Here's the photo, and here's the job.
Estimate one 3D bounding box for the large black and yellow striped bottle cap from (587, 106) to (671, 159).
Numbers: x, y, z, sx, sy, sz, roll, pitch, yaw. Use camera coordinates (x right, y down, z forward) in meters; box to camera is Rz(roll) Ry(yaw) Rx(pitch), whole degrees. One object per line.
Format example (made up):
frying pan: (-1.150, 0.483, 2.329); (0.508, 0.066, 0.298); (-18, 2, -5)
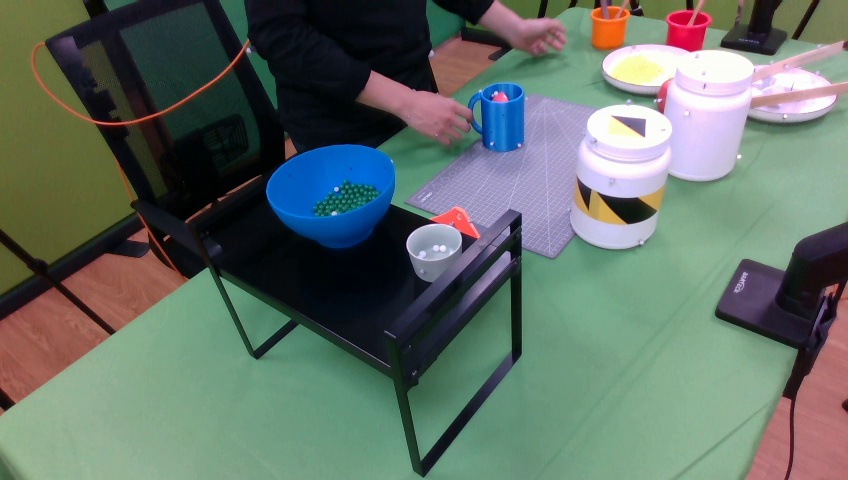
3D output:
large black and yellow striped bottle cap: (0.290, -0.154, 0.858); (0.115, 0.019, 0.114); (-4, 42, 4)

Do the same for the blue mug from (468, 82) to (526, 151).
blue mug: (0.139, -0.242, 1.170); (0.116, 0.106, 0.082); (14, 45, 24)

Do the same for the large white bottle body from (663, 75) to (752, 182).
large white bottle body: (0.472, -0.207, 1.022); (0.130, 0.185, 0.130); (-4, 41, 4)

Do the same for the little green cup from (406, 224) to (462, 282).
little green cup: (0.013, 0.015, 0.668); (0.061, 0.039, 0.061); (-4, 40, 4)

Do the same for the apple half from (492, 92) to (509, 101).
apple half: (0.143, -0.240, 1.159); (0.033, 0.081, 0.080); (-11, 40, -13)

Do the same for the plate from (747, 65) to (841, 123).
plate: (0.695, -0.282, 1.189); (0.207, 0.039, 0.206); (-4, 40, 4)

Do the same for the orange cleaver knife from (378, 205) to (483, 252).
orange cleaver knife: (0.005, -0.010, 0.944); (0.210, 0.077, 0.012); (-5, 23, 47)

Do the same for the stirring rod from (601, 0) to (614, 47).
stirring rod: (0.440, -0.552, 1.463); (0.014, 0.006, 0.175); (-7, 83, 4)

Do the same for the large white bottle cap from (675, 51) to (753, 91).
large white bottle cap: (0.463, -0.271, 0.967); (0.115, 0.018, 0.114); (-4, 40, 3)

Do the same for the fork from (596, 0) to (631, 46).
fork: (0.481, -0.556, 1.453); (0.028, 0.019, 0.207); (40, 103, 38)

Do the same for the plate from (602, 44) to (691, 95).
plate: (0.494, -0.367, 1.317); (0.209, 0.038, 0.208); (-4, 40, 4)

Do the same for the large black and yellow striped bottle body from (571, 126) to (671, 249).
large black and yellow striped bottle body: (0.296, -0.093, 0.915); (0.131, 0.185, 0.130); (-3, 42, 3)

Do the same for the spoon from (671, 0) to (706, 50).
spoon: (0.629, -0.520, 1.394); (0.041, 0.022, 0.193); (30, 97, 34)

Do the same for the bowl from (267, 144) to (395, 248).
bowl: (-0.104, -0.043, 0.726); (0.151, 0.077, 0.150); (-4, 40, 4)

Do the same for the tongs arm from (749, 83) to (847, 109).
tongs arm: (0.734, -0.280, 1.133); (0.388, 0.028, 0.028); (-9, 47, -5)

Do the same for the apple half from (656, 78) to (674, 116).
apple half: (0.488, -0.281, 1.192); (0.053, 0.075, 0.081); (24, 54, 37)

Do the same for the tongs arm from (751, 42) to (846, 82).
tongs arm: (0.708, -0.331, 1.193); (0.386, 0.026, 0.050); (-18, 45, -16)
